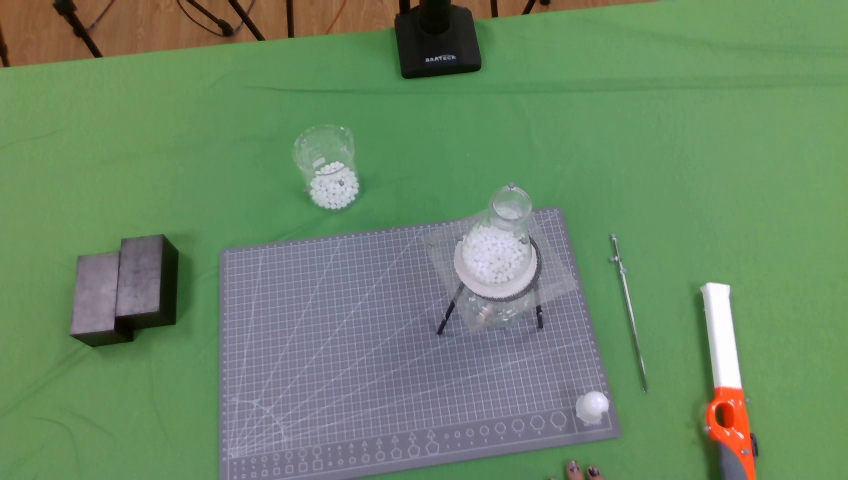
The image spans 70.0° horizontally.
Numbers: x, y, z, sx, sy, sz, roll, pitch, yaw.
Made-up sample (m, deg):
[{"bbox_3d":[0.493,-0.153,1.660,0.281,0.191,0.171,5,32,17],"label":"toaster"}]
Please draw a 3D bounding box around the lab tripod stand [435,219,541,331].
[{"bbox_3d":[0.075,0.047,0.691,0.148,0.132,0.147,0,68,0],"label":"lab tripod stand"}]

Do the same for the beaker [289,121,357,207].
[{"bbox_3d":[-0.124,-0.094,0.775,0.073,0.101,0.084,38,71,15],"label":"beaker"}]

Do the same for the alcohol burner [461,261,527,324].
[{"bbox_3d":[0.082,0.055,0.699,0.078,0.120,0.077,1,66,-1],"label":"alcohol burner"}]

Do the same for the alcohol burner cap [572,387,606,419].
[{"bbox_3d":[0.188,0.181,0.682,0.034,0.048,0.033,0,66,-1],"label":"alcohol burner cap"}]

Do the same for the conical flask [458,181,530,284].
[{"bbox_3d":[0.073,-0.010,0.580,0.075,0.122,0.075,0,68,0],"label":"conical flask"}]

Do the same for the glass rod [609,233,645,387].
[{"bbox_3d":[0.249,0.082,0.748,0.008,0.008,0.198,-3,66,-2],"label":"glass rod"}]

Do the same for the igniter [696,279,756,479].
[{"bbox_3d":[0.345,0.177,0.696,0.057,0.025,0.274,8,66,-8],"label":"igniter"}]

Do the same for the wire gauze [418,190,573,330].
[{"bbox_3d":[0.074,0.019,0.631,0.125,0.011,0.120,-22,71,-11],"label":"wire gauze"}]
